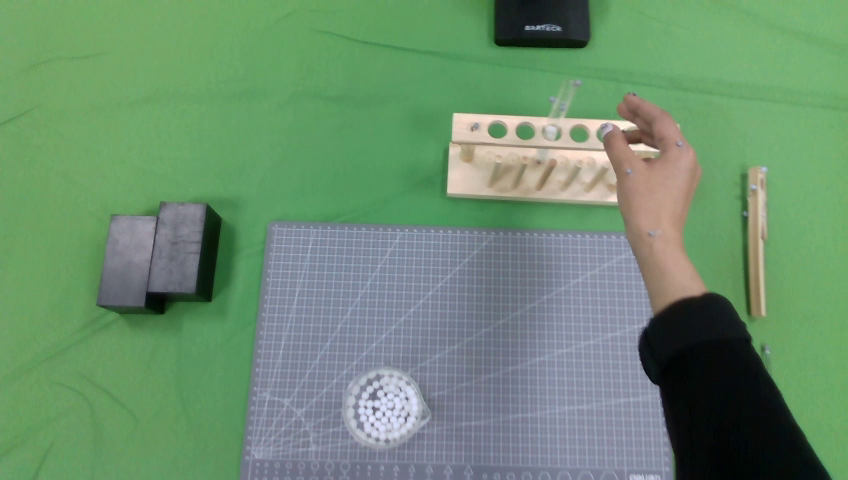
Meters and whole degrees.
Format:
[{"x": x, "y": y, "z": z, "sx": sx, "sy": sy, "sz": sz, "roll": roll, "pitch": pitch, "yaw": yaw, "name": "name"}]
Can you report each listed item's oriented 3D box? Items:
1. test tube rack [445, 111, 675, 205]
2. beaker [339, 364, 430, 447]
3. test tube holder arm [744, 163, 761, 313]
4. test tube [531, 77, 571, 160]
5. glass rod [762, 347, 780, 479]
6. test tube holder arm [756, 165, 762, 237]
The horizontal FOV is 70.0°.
[{"x": 0.147, "y": -0.090, "z": 0.686, "sx": 0.242, "sy": 0.085, "sz": 0.066, "roll": 3, "pitch": 74, "yaw": 0, "name": "test tube rack"}, {"x": -0.036, "y": 0.165, "z": 0.601, "sx": 0.084, "sy": 0.101, "sz": 0.073, "roll": 10, "pitch": 74, "yaw": 2, "name": "beaker"}, {"x": 0.378, "y": -0.004, "z": 0.698, "sx": 0.013, "sy": 0.015, "sz": 0.177, "roll": 16, "pitch": 73, "yaw": -28, "name": "test tube holder arm"}, {"x": 0.132, "y": -0.124, "z": 0.643, "sx": 0.017, "sy": 0.151, "sz": 0.017, "roll": 0, "pitch": 71, "yaw": 0, "name": "test tube"}, {"x": 0.371, "y": 0.214, "z": 0.644, "sx": 0.008, "sy": 0.008, "sz": 0.198, "roll": 3, "pitch": 74, "yaw": 0, "name": "glass rod"}, {"x": 0.389, "y": -0.046, "z": 0.712, "sx": 0.010, "sy": 0.015, "sz": 0.087, "roll": 16, "pitch": 73, "yaw": -28, "name": "test tube holder arm"}]
